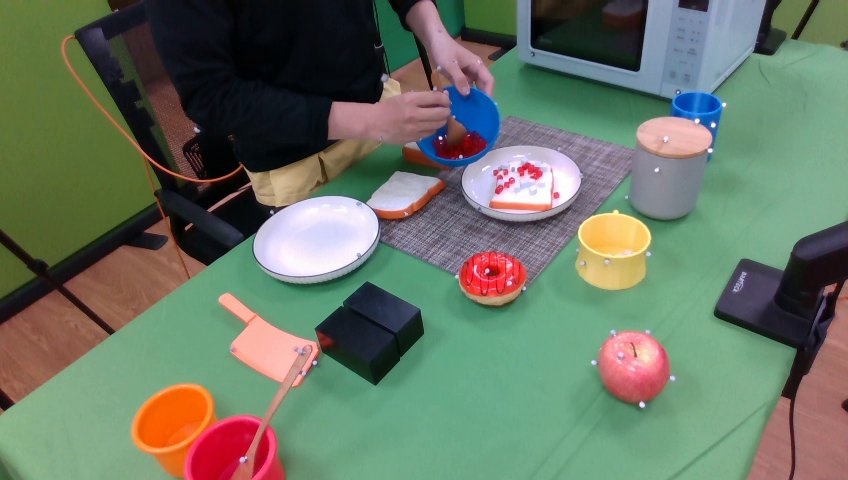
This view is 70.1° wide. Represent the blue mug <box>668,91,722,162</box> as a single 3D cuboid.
[{"bbox_3d":[0.474,-0.207,1.079,0.082,0.106,0.116,4,42,13],"label":"blue mug"}]

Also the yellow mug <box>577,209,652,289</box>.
[{"bbox_3d":[0.279,0.004,0.893,0.099,0.064,0.130,5,42,15],"label":"yellow mug"}]

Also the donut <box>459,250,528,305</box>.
[{"bbox_3d":[0.100,0.053,0.872,0.099,0.048,0.098,-5,40,4],"label":"donut"}]

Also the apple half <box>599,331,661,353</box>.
[{"bbox_3d":[0.249,0.134,0.738,0.081,0.081,0.032,-1,46,7],"label":"apple half"}]

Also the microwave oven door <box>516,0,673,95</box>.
[{"bbox_3d":[0.344,-0.458,1.257,0.353,0.245,0.039,26,51,33],"label":"microwave oven door"}]

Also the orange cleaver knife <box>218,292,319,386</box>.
[{"bbox_3d":[-0.235,0.136,0.850,0.209,0.012,0.077,25,57,30],"label":"orange cleaver knife"}]

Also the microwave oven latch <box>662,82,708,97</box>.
[{"bbox_3d":[0.518,-0.298,1.203,0.078,0.029,0.030,28,53,35],"label":"microwave oven latch"}]

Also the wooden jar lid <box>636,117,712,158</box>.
[{"bbox_3d":[0.377,-0.151,0.917,0.108,0.021,0.108,-2,41,3],"label":"wooden jar lid"}]

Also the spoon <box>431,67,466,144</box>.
[{"bbox_3d":[0.034,-0.208,0.956,0.041,0.195,0.021,-32,59,-1],"label":"spoon"}]

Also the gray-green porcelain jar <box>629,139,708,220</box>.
[{"bbox_3d":[0.383,-0.104,0.958,0.106,0.127,0.105,-4,41,4],"label":"gray-green porcelain jar"}]

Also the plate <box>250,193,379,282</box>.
[{"bbox_3d":[-0.174,0.000,0.984,0.209,0.038,0.208,-3,40,3],"label":"plate"}]

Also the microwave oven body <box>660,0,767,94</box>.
[{"bbox_3d":[0.473,-0.517,1.314,0.438,0.261,0.327,26,51,34],"label":"microwave oven body"}]

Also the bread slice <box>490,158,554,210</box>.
[{"bbox_3d":[0.173,-0.100,1.047,0.104,0.019,0.131,4,43,12],"label":"bread slice"}]

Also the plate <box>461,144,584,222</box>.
[{"bbox_3d":[0.167,-0.095,1.040,0.207,0.039,0.206,-4,41,4],"label":"plate"}]

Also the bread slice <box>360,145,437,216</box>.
[{"bbox_3d":[-0.053,-0.103,1.046,0.106,0.018,0.134,19,67,22],"label":"bread slice"}]

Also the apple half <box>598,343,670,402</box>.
[{"bbox_3d":[0.247,0.161,0.710,0.081,0.075,0.053,2,47,5],"label":"apple half"}]

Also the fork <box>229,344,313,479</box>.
[{"bbox_3d":[-0.173,0.205,0.662,0.028,0.019,0.207,29,94,35],"label":"fork"}]

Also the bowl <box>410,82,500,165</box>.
[{"bbox_3d":[0.056,-0.184,1.034,0.151,0.077,0.150,-2,67,5],"label":"bowl"}]
